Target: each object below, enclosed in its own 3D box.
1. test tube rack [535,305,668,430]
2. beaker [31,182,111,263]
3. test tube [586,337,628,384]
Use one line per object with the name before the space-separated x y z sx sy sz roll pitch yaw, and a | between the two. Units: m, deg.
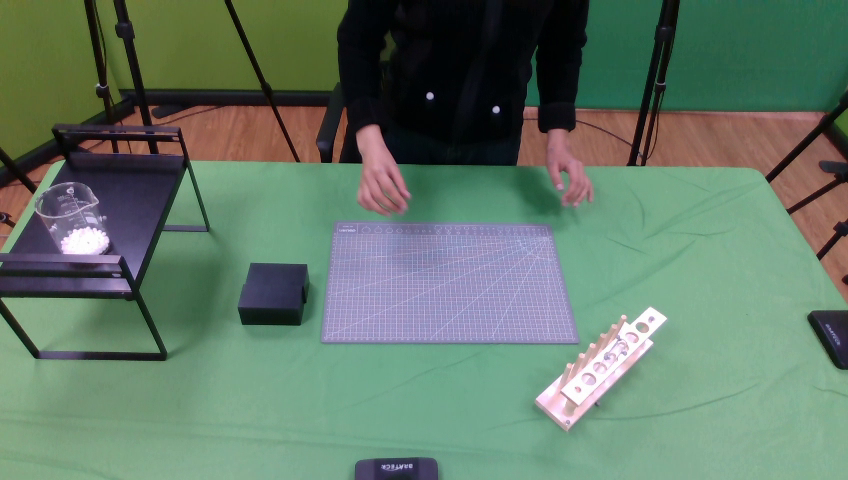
test tube rack | 0.290 0.193 0.984 0.242 0.085 0.066 -32 56 -30
beaker | -0.502 -0.022 0.877 0.084 0.101 0.073 -2 47 -7
test tube | 0.273 0.191 0.916 0.017 0.151 0.017 5 50 -6
